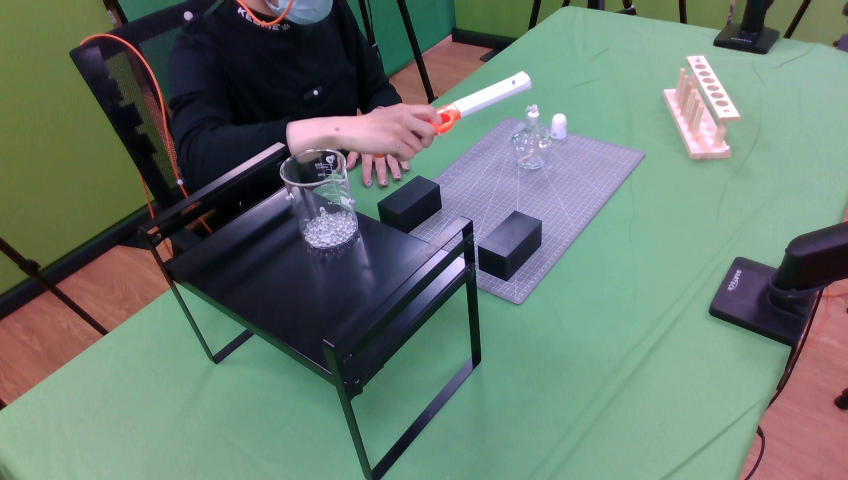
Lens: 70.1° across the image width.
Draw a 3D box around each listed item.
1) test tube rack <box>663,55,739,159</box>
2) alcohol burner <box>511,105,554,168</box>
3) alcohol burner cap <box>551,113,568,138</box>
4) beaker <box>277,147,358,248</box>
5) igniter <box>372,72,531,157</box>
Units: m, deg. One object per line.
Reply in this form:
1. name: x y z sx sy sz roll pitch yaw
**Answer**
1. test tube rack: 0.518 -0.256 1.144 0.066 0.085 0.241 -1 41 8
2. alcohol burner: 0.196 -0.190 1.088 0.078 0.119 0.077 -3 42 3
3. alcohol burner cap: 0.263 -0.223 1.172 0.034 0.048 0.033 -4 40 4
4. beaker: -0.117 -0.046 0.705 0.083 0.101 0.074 17 47 25
5. igniter: 0.042 -0.195 0.930 0.277 0.025 0.057 -26 49 -12
